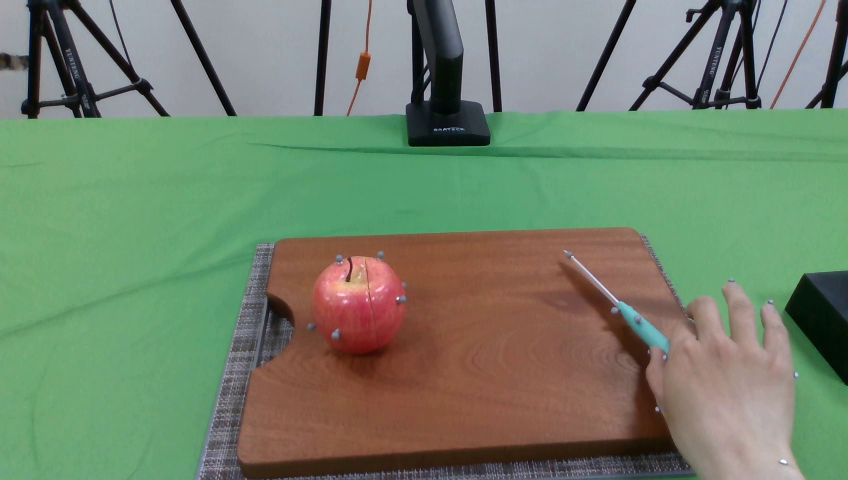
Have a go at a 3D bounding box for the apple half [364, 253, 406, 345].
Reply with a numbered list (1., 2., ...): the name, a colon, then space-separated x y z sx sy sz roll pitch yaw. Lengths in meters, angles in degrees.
1. apple half: -0.032 0.051 0.529 0.033 0.082 0.080 -9 40 -6

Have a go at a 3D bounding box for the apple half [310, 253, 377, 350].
1. apple half: -0.070 0.056 0.524 0.053 0.075 0.080 -9 44 -5

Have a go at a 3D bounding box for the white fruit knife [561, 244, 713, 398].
1. white fruit knife: 0.187 0.064 0.560 0.016 0.028 0.205 -36 45 -1
